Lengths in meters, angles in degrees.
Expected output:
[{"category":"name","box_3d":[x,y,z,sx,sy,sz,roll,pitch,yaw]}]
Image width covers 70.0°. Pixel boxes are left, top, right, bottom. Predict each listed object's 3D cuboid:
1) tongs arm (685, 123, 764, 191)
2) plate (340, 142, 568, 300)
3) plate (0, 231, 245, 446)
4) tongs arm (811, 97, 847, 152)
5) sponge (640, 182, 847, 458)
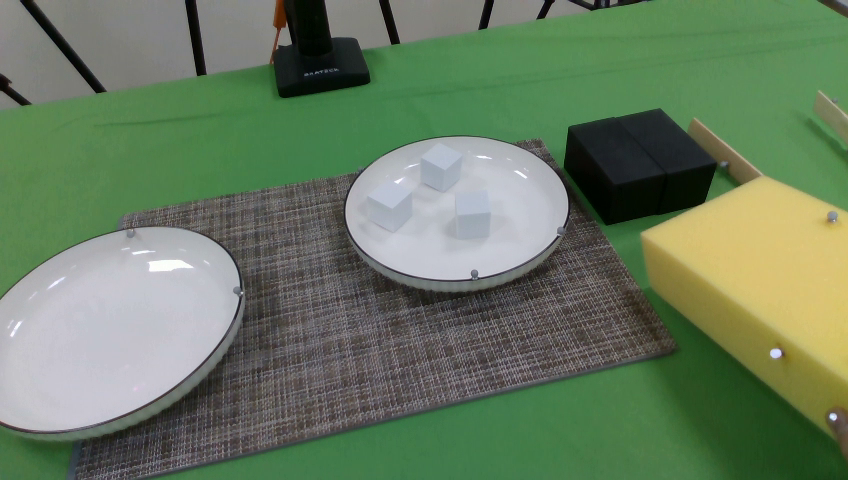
[{"category":"tongs arm","box_3d":[0.357,0.002,0.532,0.028,0.028,0.383,-15,44,-14]},{"category":"plate","box_3d":[0.027,-0.018,0.567,0.207,0.039,0.205,-2,43,2]},{"category":"plate","box_3d":[-0.246,0.075,0.489,0.209,0.038,0.207,-2,43,2]},{"category":"tongs arm","box_3d":[0.436,-0.015,0.538,0.051,0.027,0.380,-8,44,-2]},{"category":"sponge","box_3d":[0.264,0.042,0.422,0.118,0.061,0.204,-26,30,-5]}]
